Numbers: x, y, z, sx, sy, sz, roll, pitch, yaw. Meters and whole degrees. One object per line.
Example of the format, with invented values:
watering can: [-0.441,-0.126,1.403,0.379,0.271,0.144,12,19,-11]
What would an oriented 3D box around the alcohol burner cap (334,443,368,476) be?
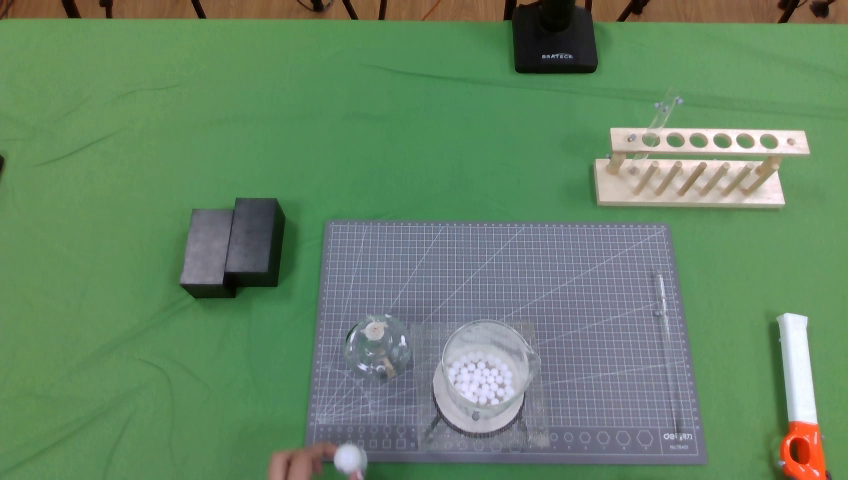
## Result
alcohol burner cap: [-0.077,0.226,0.627,0.034,0.048,0.033,0,67,1]

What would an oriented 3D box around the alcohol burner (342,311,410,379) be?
alcohol burner: [-0.054,0.111,0.672,0.078,0.120,0.077,0,64,0]

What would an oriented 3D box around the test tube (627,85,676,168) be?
test tube: [0.277,-0.134,0.745,0.017,0.151,0.017,0,63,1]

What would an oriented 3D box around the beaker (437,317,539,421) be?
beaker: [0.053,0.118,0.534,0.084,0.101,0.073,-4,65,-1]

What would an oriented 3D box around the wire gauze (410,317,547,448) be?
wire gauze: [0.050,0.134,0.580,0.125,0.011,0.120,-3,64,1]

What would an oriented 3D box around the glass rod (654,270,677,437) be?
glass rod: [0.288,0.131,0.722,0.008,0.008,0.198,2,69,0]

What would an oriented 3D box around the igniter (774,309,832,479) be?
igniter: [0.423,0.212,0.680,0.057,0.025,0.274,11,67,-6]

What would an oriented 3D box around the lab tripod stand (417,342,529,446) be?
lab tripod stand: [0.051,0.163,0.639,0.148,0.132,0.147,-1,65,2]

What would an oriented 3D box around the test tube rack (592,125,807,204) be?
test tube rack: [0.350,-0.096,0.781,0.242,0.086,0.066,1,66,0]
